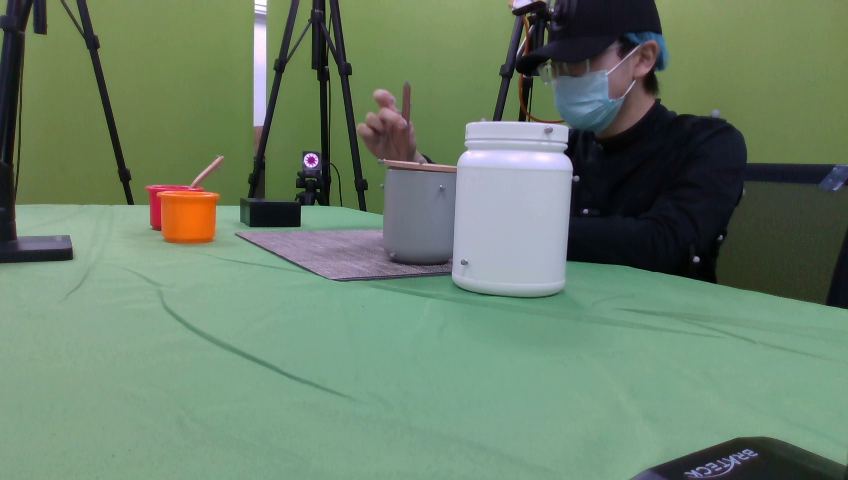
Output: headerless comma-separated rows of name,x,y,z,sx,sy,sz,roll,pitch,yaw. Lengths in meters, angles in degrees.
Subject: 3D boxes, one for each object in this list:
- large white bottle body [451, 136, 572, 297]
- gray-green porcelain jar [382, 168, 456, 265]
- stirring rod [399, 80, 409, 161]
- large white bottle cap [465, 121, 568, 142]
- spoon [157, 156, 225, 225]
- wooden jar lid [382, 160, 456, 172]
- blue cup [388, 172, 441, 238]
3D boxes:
large white bottle body,0.099,-0.037,0.688,0.131,0.184,0.130,2,7,0
gray-green porcelain jar,-0.005,-0.034,0.834,0.106,0.126,0.106,3,7,0
stirring rod,-0.033,-0.174,0.983,0.014,0.176,0.006,-2,-6,29
large white bottle cap,0.103,-0.120,0.677,0.115,0.018,0.115,2,7,0
spoon,-0.425,-0.094,1.117,0.041,0.022,0.194,3,50,30
wooden jar lid,-0.003,-0.096,0.826,0.108,0.020,0.108,5,10,0
blue cup,-0.019,-0.056,0.980,0.093,0.100,0.092,5,4,0
